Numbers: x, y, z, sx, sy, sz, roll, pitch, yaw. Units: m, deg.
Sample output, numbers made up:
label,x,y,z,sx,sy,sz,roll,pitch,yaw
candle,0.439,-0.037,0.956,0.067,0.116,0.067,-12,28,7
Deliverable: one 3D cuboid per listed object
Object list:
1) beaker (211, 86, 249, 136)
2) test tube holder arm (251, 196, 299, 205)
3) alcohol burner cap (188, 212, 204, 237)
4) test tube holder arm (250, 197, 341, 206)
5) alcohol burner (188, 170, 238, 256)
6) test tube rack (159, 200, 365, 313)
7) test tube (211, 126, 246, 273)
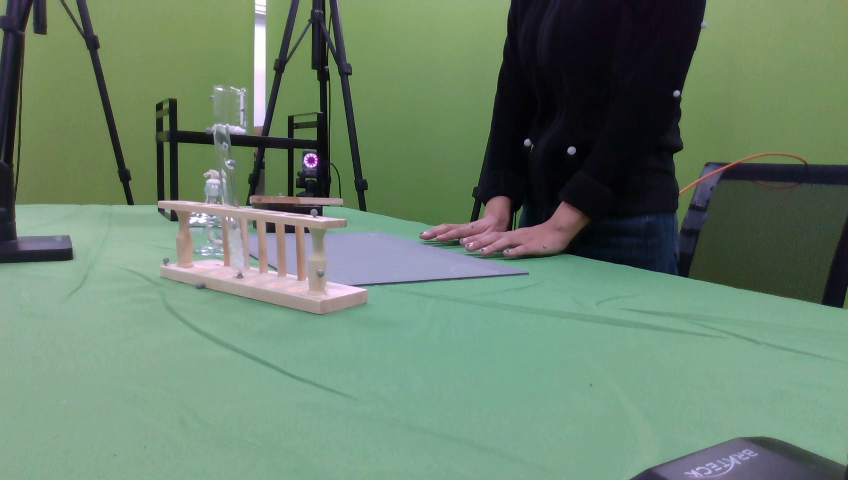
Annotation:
label,x,y,z,sx,sy,sz,roll,pitch,yaw
beaker,-0.413,-0.274,1.297,0.074,0.100,0.083,-5,11,-44
test tube holder arm,-0.275,-0.073,1.119,0.088,0.015,0.010,-1,6,-33
alcohol burner cap,-0.389,-0.029,1.026,0.034,0.048,0.034,2,9,0
test tube holder arm,-0.241,-0.074,1.150,0.179,0.015,0.013,-1,6,-35
alcohol burner,-0.296,-0.038,0.851,0.078,0.119,0.078,2,5,0
test tube rack,-0.173,0.009,0.624,0.241,0.085,0.067,7,9,34
test tube,-0.198,-0.040,0.614,0.017,0.150,0.017,-5,7,1
